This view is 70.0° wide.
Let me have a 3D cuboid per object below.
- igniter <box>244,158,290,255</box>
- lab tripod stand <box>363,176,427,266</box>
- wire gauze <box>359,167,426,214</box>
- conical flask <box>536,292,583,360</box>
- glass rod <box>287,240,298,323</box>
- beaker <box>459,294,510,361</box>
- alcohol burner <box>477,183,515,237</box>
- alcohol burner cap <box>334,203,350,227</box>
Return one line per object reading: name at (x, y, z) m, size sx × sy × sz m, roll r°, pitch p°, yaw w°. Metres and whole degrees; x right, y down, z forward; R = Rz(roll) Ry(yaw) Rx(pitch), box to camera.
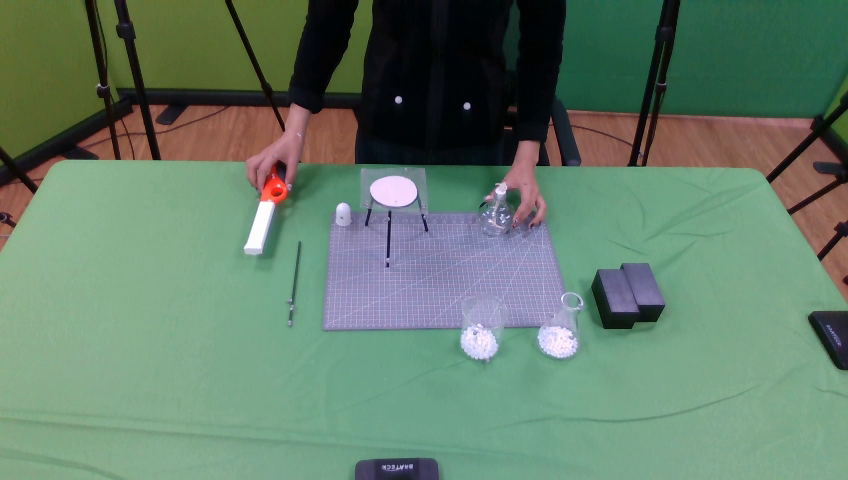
igniter at (-0.313, -0.077, 1.219) m, size 0.057 × 0.025 × 0.275 m, roll 2°, pitch 46°, yaw 0°
lab tripod stand at (-0.058, -0.047, 1.159) m, size 0.148 × 0.132 × 0.147 m, roll 3°, pitch 44°, yaw -2°
wire gauze at (-0.059, -0.093, 1.110) m, size 0.125 × 0.011 × 0.120 m, roll 2°, pitch 45°, yaw -5°
conical flask at (0.234, 0.139, 1.015) m, size 0.075 × 0.122 × 0.075 m, roll 2°, pitch 46°, yaw -2°
glass rod at (-0.242, 0.072, 1.119) m, size 0.008 × 0.008 × 0.198 m, roll -1°, pitch 47°, yaw -5°
beaker at (0.095, 0.147, 1.012) m, size 0.083 × 0.101 × 0.074 m, roll 26°, pitch 49°, yaw 21°
alcohol burner at (0.146, -0.065, 1.208) m, size 0.078 × 0.119 × 0.077 m, roll 2°, pitch 44°, yaw -2°
alcohol burner cap at (-0.166, -0.054, 1.221) m, size 0.034 × 0.048 × 0.033 m, roll 2°, pitch 46°, yaw -2°
